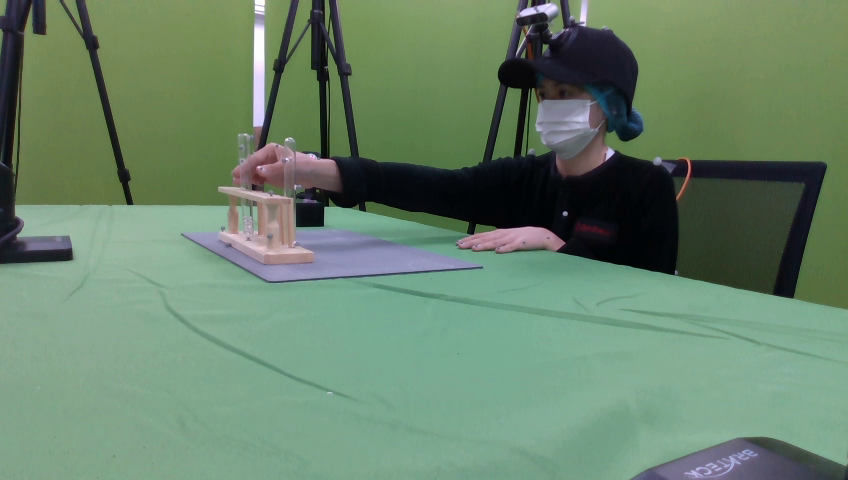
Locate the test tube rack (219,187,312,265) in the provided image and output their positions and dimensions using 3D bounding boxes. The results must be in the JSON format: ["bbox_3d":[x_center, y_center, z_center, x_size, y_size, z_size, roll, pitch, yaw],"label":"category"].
[{"bbox_3d":[-0.235,-0.027,0.872,0.067,0.085,0.241,-2,8,-31],"label":"test tube rack"}]

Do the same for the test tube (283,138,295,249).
[{"bbox_3d":[-0.182,-0.062,0.815,0.017,0.150,0.017,2,8,0],"label":"test tube"}]

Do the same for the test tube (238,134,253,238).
[{"bbox_3d":[-0.258,-0.078,0.873,0.017,0.150,0.017,-1,5,0],"label":"test tube"}]
